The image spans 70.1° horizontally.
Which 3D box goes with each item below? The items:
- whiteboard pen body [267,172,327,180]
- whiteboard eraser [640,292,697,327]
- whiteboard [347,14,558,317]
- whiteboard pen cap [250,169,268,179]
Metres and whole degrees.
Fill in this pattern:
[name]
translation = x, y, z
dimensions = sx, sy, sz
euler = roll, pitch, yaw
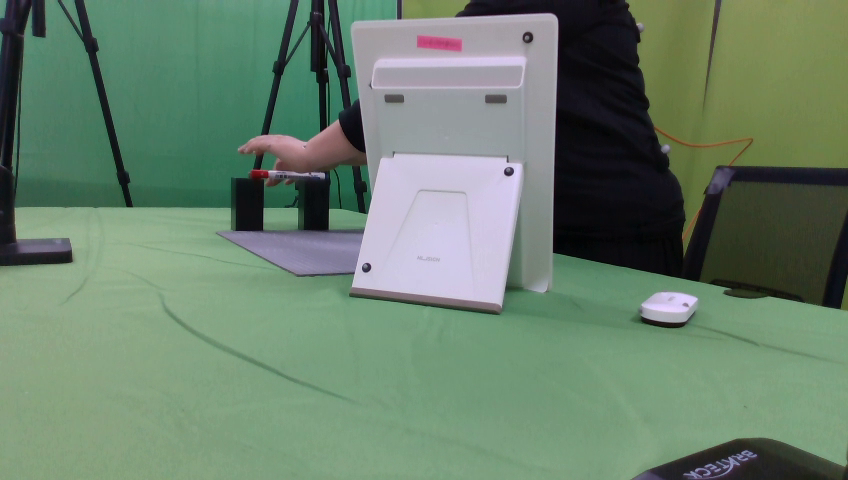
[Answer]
[whiteboard pen body]
translation = -0.259, -0.125, 1.182
dimensions = 0.141, 0.017, 0.017
euler = -2, 8, -25
[whiteboard eraser]
translation = 0.240, 0.066, 0.590
dimensions = 0.041, 0.019, 0.102
euler = 7, 7, 31
[whiteboard]
translation = 0.012, -0.056, 0.609
dimensions = 0.216, 0.305, 0.144
euler = 5, 27, 20
[whiteboard pen cap]
translation = -0.315, -0.126, 1.155
dimensions = 0.032, 0.017, 0.017
euler = 2, 7, -24
